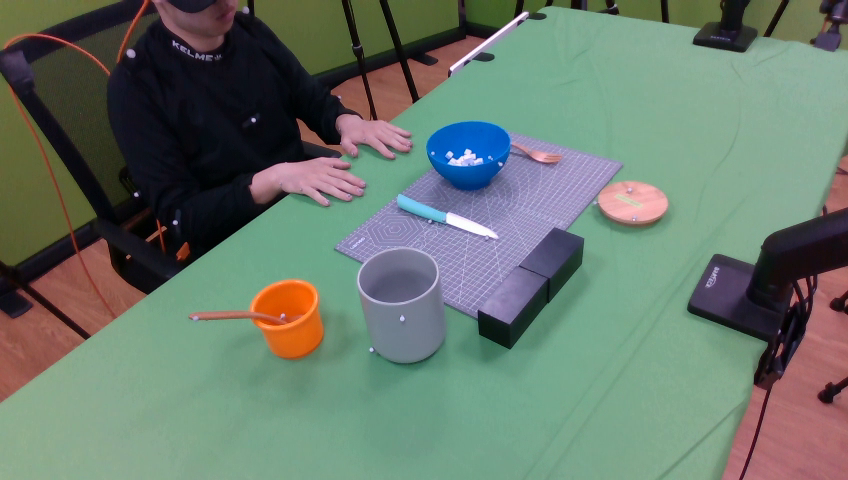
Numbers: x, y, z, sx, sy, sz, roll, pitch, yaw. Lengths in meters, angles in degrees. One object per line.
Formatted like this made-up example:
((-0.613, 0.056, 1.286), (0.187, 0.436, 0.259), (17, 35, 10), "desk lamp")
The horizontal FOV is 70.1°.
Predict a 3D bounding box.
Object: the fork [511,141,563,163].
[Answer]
((0.168, -0.178, 1.150), (0.206, 0.019, 0.028), (23, 56, 28), "fork")

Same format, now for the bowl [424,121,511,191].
((0.080, -0.140, 1.074), (0.151, 0.077, 0.150), (-4, 40, 4), "bowl")

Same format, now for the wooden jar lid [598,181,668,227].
((0.340, -0.058, 0.989), (0.108, 0.021, 0.108), (-5, 41, 5), "wooden jar lid")

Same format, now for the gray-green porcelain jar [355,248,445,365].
((-0.027, 0.091, 0.786), (0.106, 0.127, 0.105), (-4, 40, 4), "gray-green porcelain jar")

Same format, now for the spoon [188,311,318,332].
((-0.216, 0.102, 0.783), (0.041, 0.195, 0.021), (26, 95, 39), "spoon")

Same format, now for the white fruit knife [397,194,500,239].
((0.036, -0.037, 1.007), (0.206, 0.016, 0.027), (21, 62, 28), "white fruit knife")
